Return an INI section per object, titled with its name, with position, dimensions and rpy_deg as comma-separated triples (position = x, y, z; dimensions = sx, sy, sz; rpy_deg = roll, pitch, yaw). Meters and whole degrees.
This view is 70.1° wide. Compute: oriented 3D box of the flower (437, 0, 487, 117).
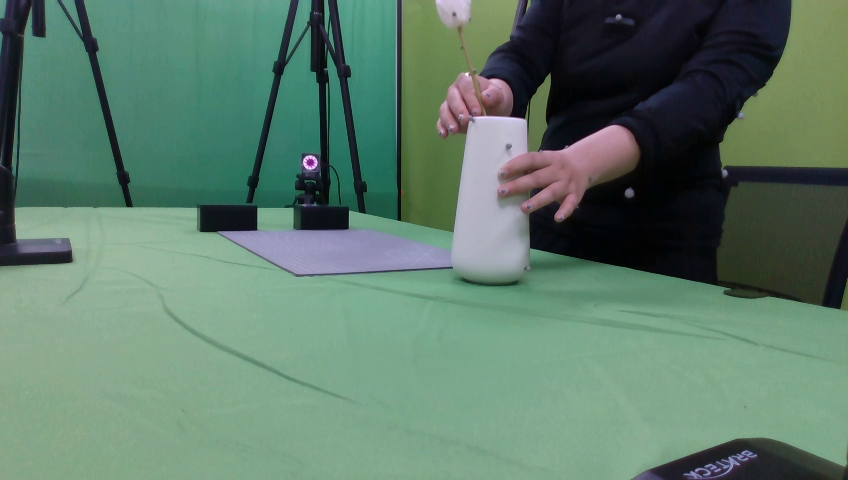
[flower]
position = 0.077, -0.145, 0.741
dimensions = 0.044, 0.361, 0.038
rpy_deg = -14, 1, 22

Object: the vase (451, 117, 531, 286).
[vase]
position = 0.084, -0.047, 0.737
dimensions = 0.098, 0.200, 0.098
rpy_deg = 1, 6, 0
